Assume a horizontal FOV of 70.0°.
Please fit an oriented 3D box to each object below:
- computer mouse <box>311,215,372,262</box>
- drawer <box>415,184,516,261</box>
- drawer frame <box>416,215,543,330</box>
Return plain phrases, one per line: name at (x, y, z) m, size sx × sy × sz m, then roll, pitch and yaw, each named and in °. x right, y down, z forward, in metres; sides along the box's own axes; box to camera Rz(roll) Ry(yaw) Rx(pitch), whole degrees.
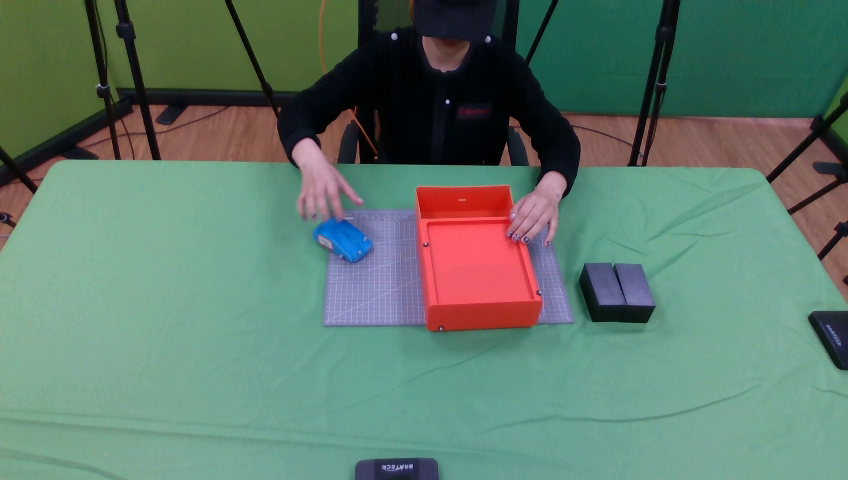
computer mouse at (-0.160, -0.006, 1.178) m, size 0.117 × 0.041 × 0.062 m, roll 32°, pitch 50°, yaw 19°
drawer at (0.086, -0.015, 1.175) m, size 0.195 × 0.073 × 0.210 m, roll -1°, pitch 46°, yaw -6°
drawer frame at (0.094, 0.054, 1.108) m, size 0.202 × 0.083 × 0.212 m, roll -2°, pitch 47°, yaw -7°
